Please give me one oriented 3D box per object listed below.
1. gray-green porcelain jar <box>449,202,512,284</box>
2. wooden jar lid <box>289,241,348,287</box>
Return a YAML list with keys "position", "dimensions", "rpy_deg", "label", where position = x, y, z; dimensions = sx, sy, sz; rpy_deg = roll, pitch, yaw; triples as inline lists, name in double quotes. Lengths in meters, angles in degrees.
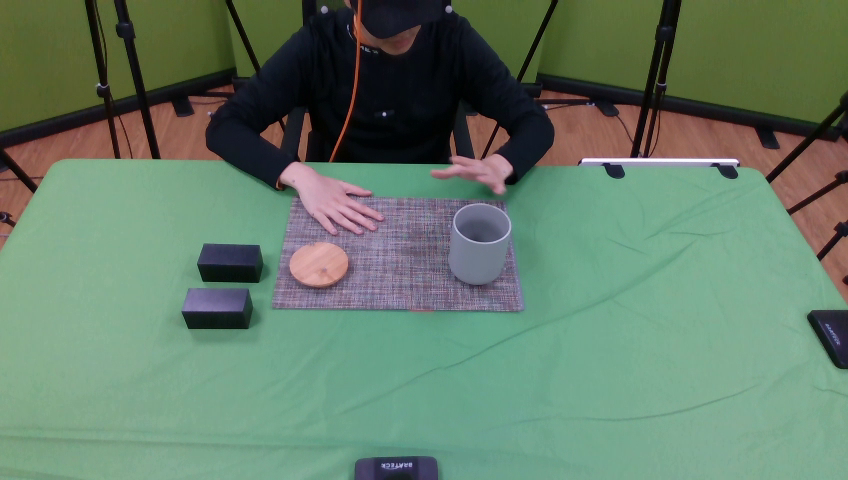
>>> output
- position: [0.101, 0.010, 1.116]
  dimensions: [0.106, 0.127, 0.105]
  rpy_deg: [2, 47, -2]
  label: "gray-green porcelain jar"
- position: [-0.196, 0.047, 1.133]
  dimensions: [0.108, 0.021, 0.107]
  rpy_deg: [2, 45, -2]
  label: "wooden jar lid"
